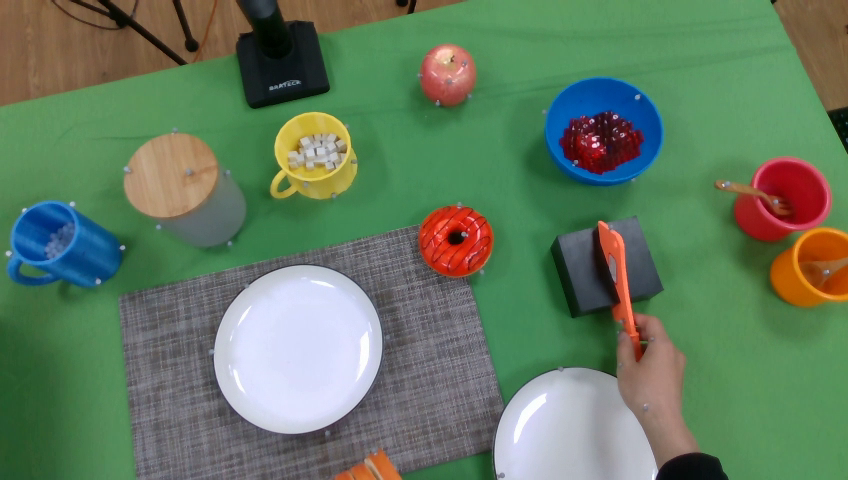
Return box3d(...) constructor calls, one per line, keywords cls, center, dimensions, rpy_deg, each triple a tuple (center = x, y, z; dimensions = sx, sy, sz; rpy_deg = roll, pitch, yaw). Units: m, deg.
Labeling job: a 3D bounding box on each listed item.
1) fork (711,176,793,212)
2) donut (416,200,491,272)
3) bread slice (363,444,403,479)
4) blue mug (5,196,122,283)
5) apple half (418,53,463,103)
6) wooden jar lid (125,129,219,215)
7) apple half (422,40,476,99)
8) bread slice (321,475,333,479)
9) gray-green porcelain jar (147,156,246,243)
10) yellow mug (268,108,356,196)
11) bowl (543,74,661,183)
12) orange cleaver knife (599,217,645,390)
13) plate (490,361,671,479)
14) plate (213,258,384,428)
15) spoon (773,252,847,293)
box3d(cls="fork", center=(0.408, -0.058, 0.747), dimensions=(0.209, 0.018, 0.028), rpy_deg=(8, 68, -41))
box3d(cls="donut", center=(0.038, -0.005, 0.786), dimensions=(0.099, 0.048, 0.098), rpy_deg=(0, 73, 0))
box3d(cls="bread slice", center=(-0.032, 0.271, 0.645), dimensions=(0.018, 0.135, 0.106), rpy_deg=(-29, 72, -21))
box3d(cls="blue mug", center=(-0.460, 0.012, 0.761), dimensions=(0.116, 0.106, 0.082), rpy_deg=(-38, 75, -10))
box3d(cls="apple half", center=(0.016, -0.215, 0.838), dimensions=(0.081, 0.082, 0.033), rpy_deg=(41, 73, 13))
box3d(cls="wooden jar lid", center=(-0.293, -0.077, 0.710), dimensions=(0.108, 0.021, 0.107), rpy_deg=(-1, 71, 2))
box3d(cls="apple half", center=(0.041, -0.242, 0.848), dimensions=(0.080, 0.075, 0.053), rpy_deg=(40, 72, 16))
box3d(cls="bread slice", center=(-0.081, 0.294, 0.636), dimensions=(0.019, 0.132, 0.104), rpy_deg=(-32, 72, -17))
box3d(cls="gray-green porcelain jar", center=(-0.292, -0.058, 0.769), dimensions=(0.106, 0.127, 0.105), rpy_deg=(0, 72, 1))
box3d(cls="yellow mug", center=(-0.157, -0.107, 0.814), dimensions=(0.099, 0.064, 0.131), rpy_deg=(43, 79, 13))
box3d(cls="bowl", center=(0.229, -0.136, 0.810), dimensions=(0.151, 0.077, 0.150), rpy_deg=(0, 73, 1))
box3d(cls="orange cleaver knife", center=(0.240, 0.077, 0.741), dimensions=(0.012, 0.077, 0.211), rpy_deg=(-12, 97, 0))
box3d(cls="plate", center=(0.180, 0.249, 0.713), dimensions=(0.209, 0.038, 0.208), rpy_deg=(0, 73, 2))
box3d(cls="plate", center=(-0.152, 0.126, 0.753), dimensions=(0.208, 0.039, 0.206), rpy_deg=(0, 73, 1))
box3d(cls="spoon", center=(0.518, 0.015, 0.722), dimensions=(0.022, 0.193, 0.041), rpy_deg=(4, 62, -44))
